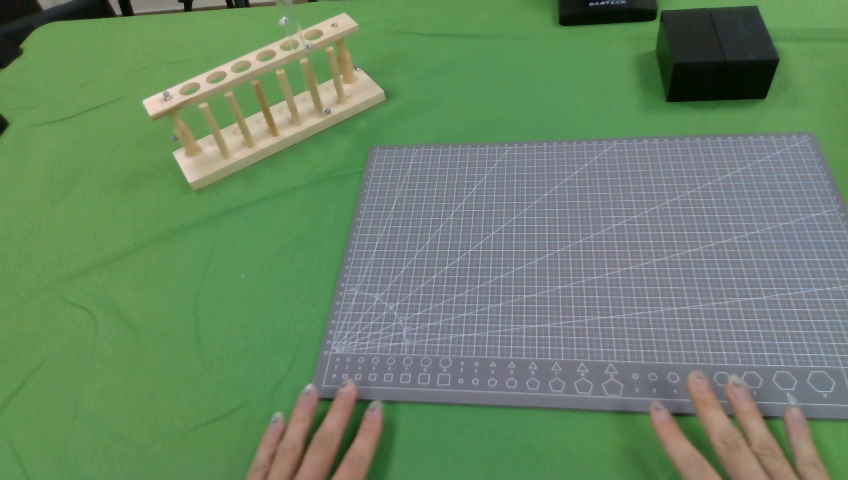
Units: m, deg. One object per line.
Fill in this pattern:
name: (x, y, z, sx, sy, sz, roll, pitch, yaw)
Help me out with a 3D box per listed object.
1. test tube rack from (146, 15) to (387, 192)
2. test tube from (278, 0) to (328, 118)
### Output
test tube rack: (-0.169, -0.156, 0.679, 0.242, 0.086, 0.066, -29, 52, -15)
test tube: (-0.128, -0.194, 0.645, 0.017, 0.152, 0.017, -5, 48, 6)
